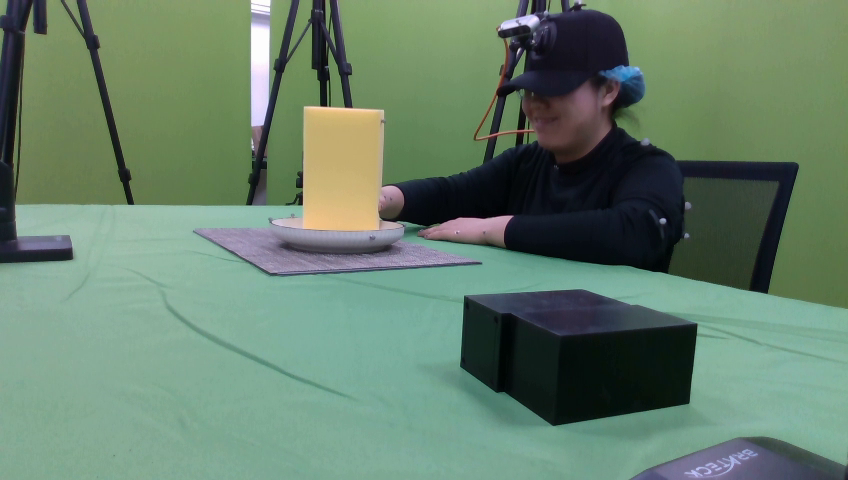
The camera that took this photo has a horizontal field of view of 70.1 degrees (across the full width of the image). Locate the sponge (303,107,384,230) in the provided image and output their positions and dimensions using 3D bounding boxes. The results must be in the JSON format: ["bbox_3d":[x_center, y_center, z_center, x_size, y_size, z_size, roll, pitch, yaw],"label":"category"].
[{"bbox_3d":[-0.129,-0.107,0.968,0.118,0.206,0.061,4,13,2],"label":"sponge"}]

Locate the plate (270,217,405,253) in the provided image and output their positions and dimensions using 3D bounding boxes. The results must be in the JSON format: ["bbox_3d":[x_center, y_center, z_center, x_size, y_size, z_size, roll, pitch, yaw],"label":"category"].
[{"bbox_3d":[-0.134,-0.009,0.946,0.208,0.039,0.207,3,7,0],"label":"plate"}]
